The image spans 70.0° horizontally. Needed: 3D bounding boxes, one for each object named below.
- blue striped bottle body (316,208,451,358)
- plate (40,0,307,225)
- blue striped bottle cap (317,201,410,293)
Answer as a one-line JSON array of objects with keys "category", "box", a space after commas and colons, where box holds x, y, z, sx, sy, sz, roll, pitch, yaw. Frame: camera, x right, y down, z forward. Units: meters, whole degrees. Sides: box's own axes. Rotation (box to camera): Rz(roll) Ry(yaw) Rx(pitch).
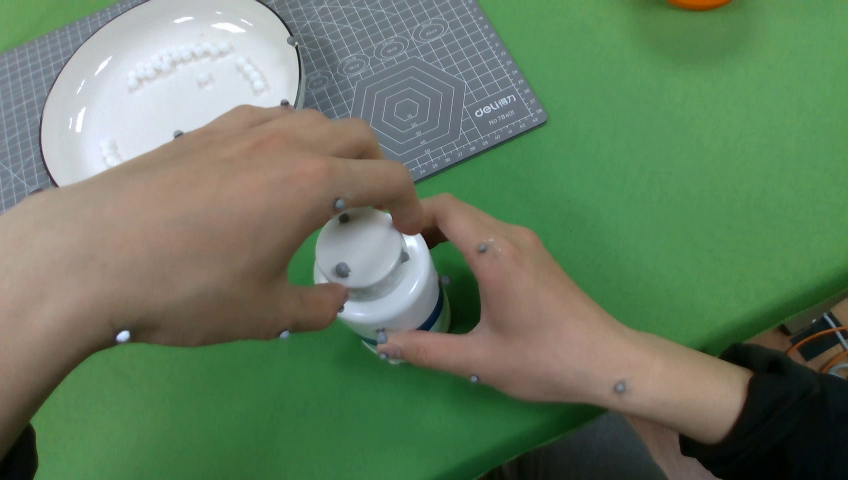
[{"category": "blue striped bottle body", "box": [-0.022, 0.024, 0.347, 0.063, 0.122, 0.062, -3, 66, 8]}, {"category": "plate", "box": [-0.187, -0.102, 0.468, 0.207, 0.039, 0.206, -3, 67, 8]}, {"category": "blue striped bottle cap", "box": [-0.030, 0.003, 0.300, 0.044, 0.021, 0.044, -3, 68, 8]}]
